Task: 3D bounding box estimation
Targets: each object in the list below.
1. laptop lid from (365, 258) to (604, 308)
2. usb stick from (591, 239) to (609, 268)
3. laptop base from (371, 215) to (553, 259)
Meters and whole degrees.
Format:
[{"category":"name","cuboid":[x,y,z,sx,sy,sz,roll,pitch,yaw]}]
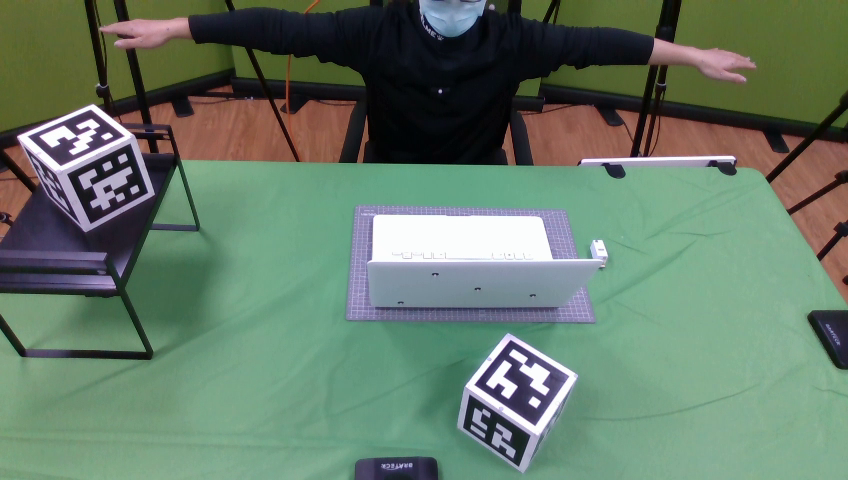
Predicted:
[{"category":"laptop lid","cuboid":[0.085,0.074,0.978,0.357,0.242,0.013,1,67,-5]},{"category":"usb stick","cuboid":[0.347,0.028,1.188,0.021,0.027,0.059,4,48,-6]},{"category":"laptop base","cuboid":[0.075,0.037,1.167,0.355,0.023,0.234,0,43,-4]}]
